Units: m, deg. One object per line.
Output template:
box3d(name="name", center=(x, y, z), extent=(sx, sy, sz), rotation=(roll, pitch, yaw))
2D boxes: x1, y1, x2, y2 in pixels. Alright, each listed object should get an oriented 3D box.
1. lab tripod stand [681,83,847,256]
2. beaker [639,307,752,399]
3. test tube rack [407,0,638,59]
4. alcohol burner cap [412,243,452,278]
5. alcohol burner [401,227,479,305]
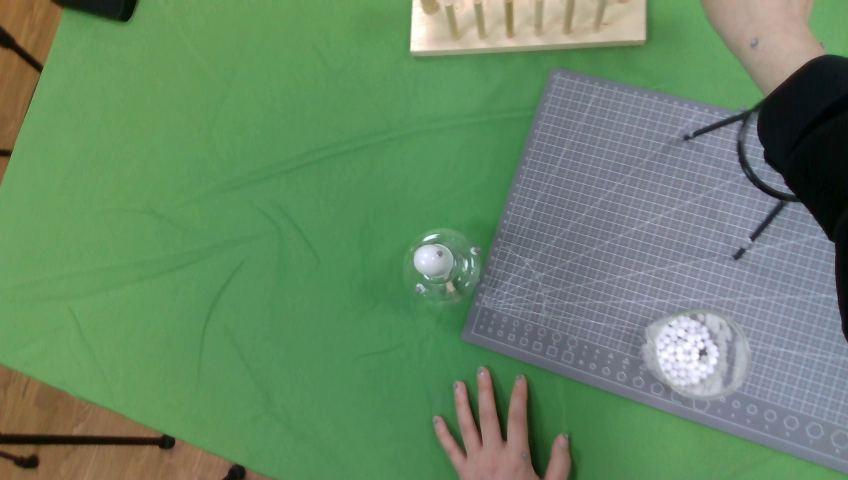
box3d(name="lab tripod stand", center=(0.297, -0.064, 0.525), extent=(0.148, 0.132, 0.148), rotation=(-1, 84, 10))
box3d(name="beaker", center=(0.230, 0.096, 0.536), extent=(0.083, 0.101, 0.074), rotation=(24, 87, 14))
box3d(name="test tube rack", center=(0.095, -0.239, 0.613), extent=(0.242, 0.085, 0.066), rotation=(0, 83, 11))
box3d(name="alcohol burner cap", center=(0.005, 0.018, 0.548), extent=(0.034, 0.048, 0.034), rotation=(-1, 86, 12))
box3d(name="alcohol burner", center=(0.013, 0.023, 0.583), extent=(0.078, 0.119, 0.077), rotation=(-1, 81, 9))
